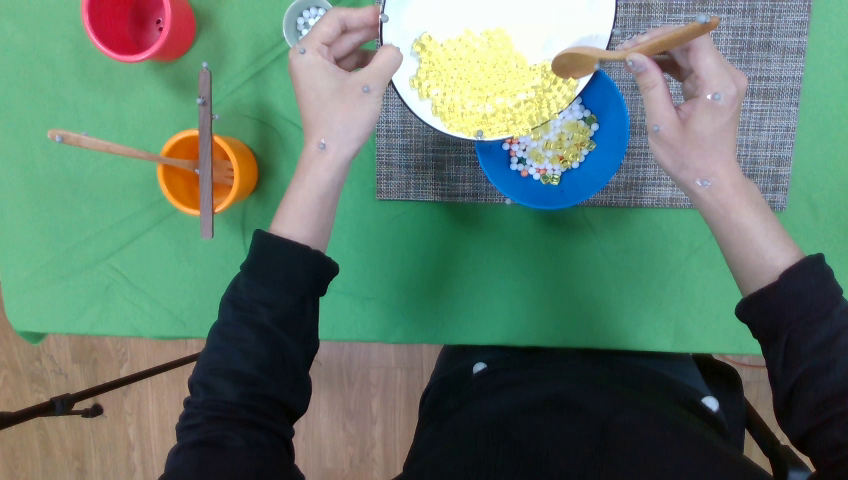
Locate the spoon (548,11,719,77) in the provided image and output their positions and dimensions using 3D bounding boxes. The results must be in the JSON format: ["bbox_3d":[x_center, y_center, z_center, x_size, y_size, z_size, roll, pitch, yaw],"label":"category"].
[{"bbox_3d":[0.157,-0.150,0.477,0.042,0.192,0.021,18,93,-20],"label":"spoon"}]

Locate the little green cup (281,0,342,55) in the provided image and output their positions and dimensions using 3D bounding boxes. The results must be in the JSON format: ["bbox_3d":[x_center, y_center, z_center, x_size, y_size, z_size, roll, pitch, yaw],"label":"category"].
[{"bbox_3d":[-0.119,-0.229,0.654,0.061,0.038,0.062,1,101,7],"label":"little green cup"}]

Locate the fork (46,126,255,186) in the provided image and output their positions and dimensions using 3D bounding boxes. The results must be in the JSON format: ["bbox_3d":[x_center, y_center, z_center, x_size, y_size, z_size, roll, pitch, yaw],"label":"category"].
[{"bbox_3d":[-0.280,-0.089,0.642,0.209,0.018,0.028,10,109,-40],"label":"fork"}]

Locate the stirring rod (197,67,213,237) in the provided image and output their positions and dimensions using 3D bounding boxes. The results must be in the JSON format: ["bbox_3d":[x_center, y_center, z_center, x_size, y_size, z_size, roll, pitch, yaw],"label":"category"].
[{"bbox_3d":[-0.229,-0.090,0.634,0.014,0.006,0.176,4,102,4],"label":"stirring rod"}]

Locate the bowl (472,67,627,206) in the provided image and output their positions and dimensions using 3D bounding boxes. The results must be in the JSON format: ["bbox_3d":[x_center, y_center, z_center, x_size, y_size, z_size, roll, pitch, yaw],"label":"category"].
[{"bbox_3d":[0.126,-0.113,0.628,0.151,0.076,0.152,1,101,7],"label":"bowl"}]

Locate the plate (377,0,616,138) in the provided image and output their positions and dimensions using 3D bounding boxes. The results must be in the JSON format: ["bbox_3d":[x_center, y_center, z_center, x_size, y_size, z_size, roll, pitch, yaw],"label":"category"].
[{"bbox_3d":[0.060,-0.190,0.524,0.209,0.037,0.211,-8,129,-9],"label":"plate"}]
